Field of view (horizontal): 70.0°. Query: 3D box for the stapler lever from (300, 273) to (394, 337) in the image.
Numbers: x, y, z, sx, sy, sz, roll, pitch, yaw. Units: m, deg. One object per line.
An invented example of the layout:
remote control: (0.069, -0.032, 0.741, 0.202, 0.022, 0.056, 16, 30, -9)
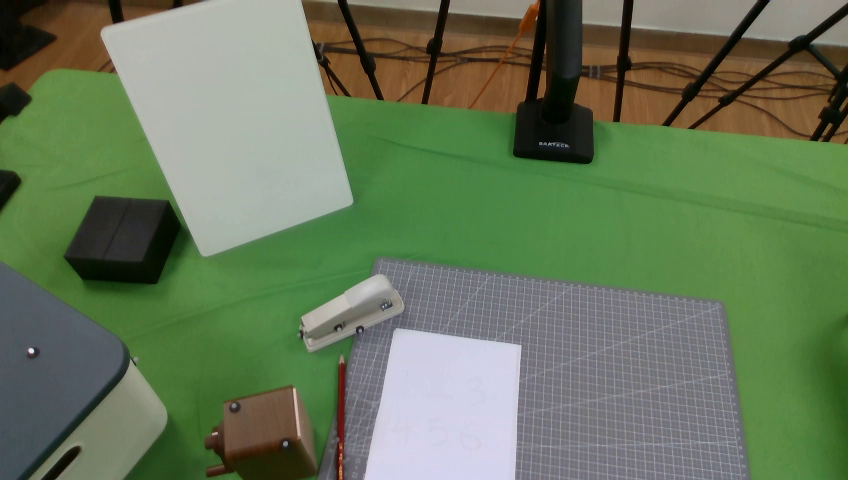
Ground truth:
stapler lever: (-0.092, 0.076, 0.722, 0.118, 0.040, 0.026, -23, 52, -12)

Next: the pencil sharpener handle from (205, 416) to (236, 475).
pencil sharpener handle: (-0.204, 0.204, 0.591, 0.031, 0.068, 0.035, -11, 33, -7)

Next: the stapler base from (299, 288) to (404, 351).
stapler base: (-0.089, 0.090, 0.743, 0.131, 0.025, 0.041, -23, 52, -12)

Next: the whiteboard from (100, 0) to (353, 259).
whiteboard: (-0.246, -0.168, 0.799, 0.217, 0.308, 0.142, -21, 37, -14)

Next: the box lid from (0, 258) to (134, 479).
box lid: (-0.481, 0.116, 0.544, 0.369, 0.015, 0.262, 26, 57, 16)

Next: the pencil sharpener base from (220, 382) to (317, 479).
pencil sharpener base: (-0.155, 0.198, 0.612, 0.077, 0.108, 0.060, -11, 54, -7)

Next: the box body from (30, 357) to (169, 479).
box body: (-0.479, 0.161, 0.604, 0.362, 0.162, 0.253, 25, 57, 17)

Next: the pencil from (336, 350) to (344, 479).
pencil: (-0.092, 0.207, 0.664, 0.012, 0.012, 0.192, -4, 53, -3)
